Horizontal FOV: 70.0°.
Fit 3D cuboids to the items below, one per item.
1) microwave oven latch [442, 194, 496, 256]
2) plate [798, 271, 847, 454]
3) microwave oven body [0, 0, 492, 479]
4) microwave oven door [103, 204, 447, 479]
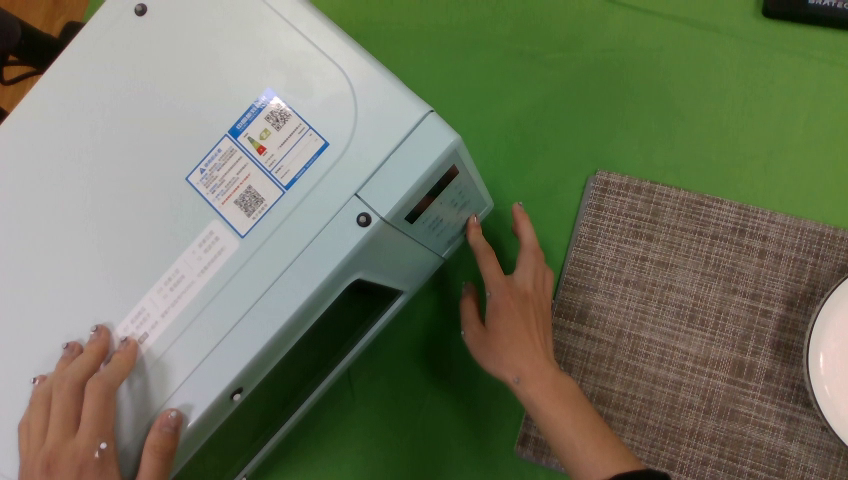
[{"bbox_3d":[0.040,-0.022,0.624,0.079,0.029,0.030,-46,76,4],"label":"microwave oven latch"},{"bbox_3d":[0.441,0.112,0.533,0.207,0.039,0.207,-2,82,12],"label":"plate"},{"bbox_3d":[-0.206,-0.002,0.575,0.324,0.261,0.441,43,93,14],"label":"microwave oven body"},{"bbox_3d":[-0.132,0.124,0.536,0.039,0.245,0.356,43,92,16],"label":"microwave oven door"}]
